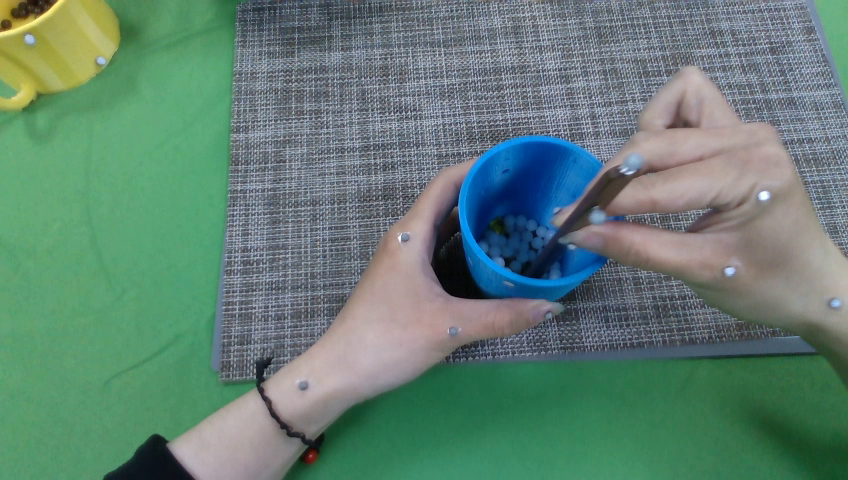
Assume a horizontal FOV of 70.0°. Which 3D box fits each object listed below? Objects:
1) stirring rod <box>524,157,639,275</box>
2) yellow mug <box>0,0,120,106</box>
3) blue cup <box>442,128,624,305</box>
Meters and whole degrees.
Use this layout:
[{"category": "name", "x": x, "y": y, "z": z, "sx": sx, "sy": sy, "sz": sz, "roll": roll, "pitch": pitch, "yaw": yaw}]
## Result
[{"category": "stirring rod", "x": 0.068, "y": -0.001, "z": 0.301, "sx": 0.014, "sy": 0.177, "sz": 0.006, "roll": -22, "pitch": 75, "yaw": -10}, {"category": "yellow mug", "x": -0.294, "y": -0.159, "z": 0.443, "sx": 0.100, "sy": 0.064, "sz": 0.130, "roll": 8, "pitch": 70, "yaw": 4}, {"category": "blue cup", "x": 0.060, "y": -0.003, "z": 0.355, "sx": 0.092, "sy": 0.101, "sz": 0.092, "roll": 0, "pitch": 71, "yaw": 1}]
